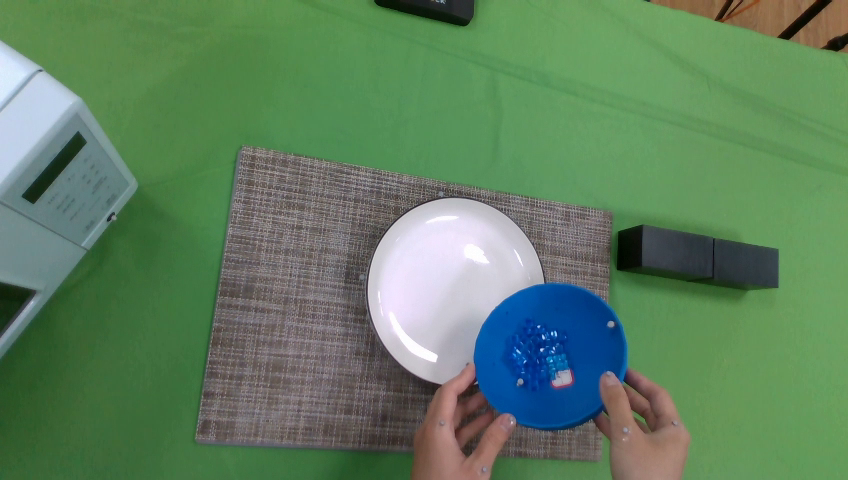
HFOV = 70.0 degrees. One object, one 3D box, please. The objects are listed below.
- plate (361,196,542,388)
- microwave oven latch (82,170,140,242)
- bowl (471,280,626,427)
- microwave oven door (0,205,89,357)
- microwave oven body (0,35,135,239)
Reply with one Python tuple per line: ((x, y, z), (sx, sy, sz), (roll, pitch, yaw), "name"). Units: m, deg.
((0.031, 0.057, 0.669), (0.208, 0.039, 0.207), (3, 82, -17), "plate")
((-0.301, -0.038, 0.565), (0.030, 0.029, 0.079), (37, 74, -9), "microwave oven latch")
((0.130, 0.124, 0.612), (0.151, 0.150, 0.077), (-56, 142, -16), "bowl")
((-0.387, 0.124, 0.410), (0.039, 0.243, 0.355), (35, 74, -9), "microwave oven door")
((-0.485, 0.007, 0.401), (0.327, 0.260, 0.440), (35, 75, -10), "microwave oven body")
